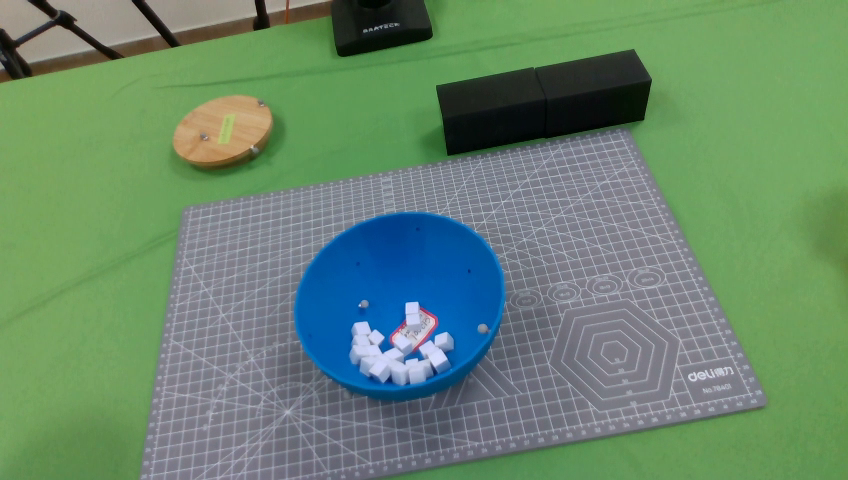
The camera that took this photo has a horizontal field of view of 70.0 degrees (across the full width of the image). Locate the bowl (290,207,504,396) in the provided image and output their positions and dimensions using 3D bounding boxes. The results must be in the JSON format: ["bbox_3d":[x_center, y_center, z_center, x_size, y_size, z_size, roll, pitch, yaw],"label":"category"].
[{"bbox_3d":[-0.015,0.056,0.451,0.151,0.077,0.150,-4,52,5],"label":"bowl"}]

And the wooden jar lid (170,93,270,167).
[{"bbox_3d":[-0.220,-0.119,0.661,0.108,0.021,0.107,-3,52,4],"label":"wooden jar lid"}]
